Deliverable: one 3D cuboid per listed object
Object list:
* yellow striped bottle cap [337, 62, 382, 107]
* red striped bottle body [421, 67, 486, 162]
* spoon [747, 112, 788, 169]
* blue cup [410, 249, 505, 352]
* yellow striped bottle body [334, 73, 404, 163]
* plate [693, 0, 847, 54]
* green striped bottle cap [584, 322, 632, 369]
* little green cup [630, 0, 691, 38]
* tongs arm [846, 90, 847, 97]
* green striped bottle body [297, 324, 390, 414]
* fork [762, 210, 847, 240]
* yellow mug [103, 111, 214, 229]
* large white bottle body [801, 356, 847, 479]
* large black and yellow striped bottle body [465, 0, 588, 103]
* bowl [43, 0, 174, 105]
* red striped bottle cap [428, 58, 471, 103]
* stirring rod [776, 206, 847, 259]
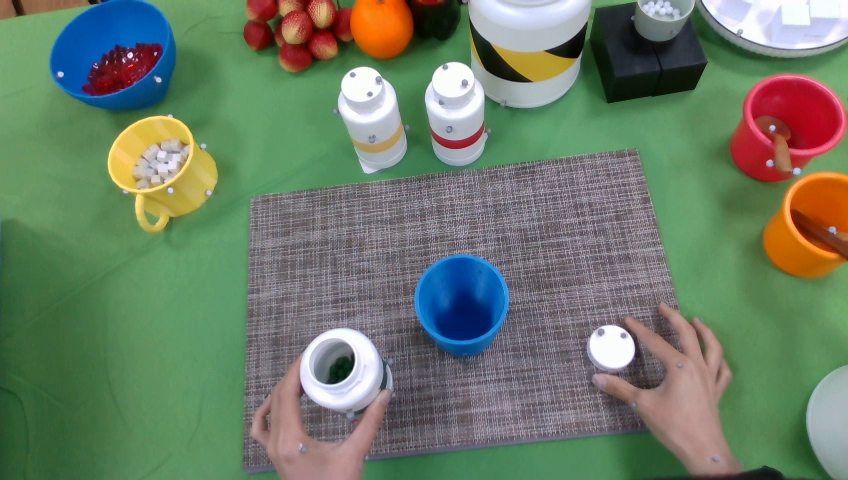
[{"bbox_3d":[-0.066,-0.160,0.621,0.044,0.019,0.044,-1,69,4],"label":"yellow striped bottle cap"},{"bbox_3d":[0.033,-0.141,0.661,0.063,0.121,0.062,-4,66,9],"label":"red striped bottle body"},{"bbox_3d":[0.345,-0.102,0.600,0.041,0.193,0.022,25,118,15],"label":"spoon"},{"bbox_3d":[0.033,0.067,0.582,0.092,0.101,0.092,-1,66,4],"label":"blue cup"},{"bbox_3d":[-0.061,-0.140,0.669,0.063,0.121,0.062,-2,68,6],"label":"yellow striped bottle body"},{"bbox_3d":[0.425,-0.307,0.733,0.209,0.038,0.207,-2,68,5],"label":"plate"},{"bbox_3d":[0.181,0.104,0.596,0.044,0.020,0.044,-2,52,3],"label":"green striped bottle cap"},{"bbox_3d":[0.261,-0.258,0.675,0.061,0.039,0.061,-2,66,4],"label":"little green cup"},{"bbox_3d":[0.554,-0.010,0.601,0.051,0.027,0.381,-18,68,-4],"label":"tongs arm"},{"bbox_3d":[-0.066,0.108,0.504,0.063,0.120,0.062,-1,69,4],"label":"green striped bottle body"},{"bbox_3d":[0.408,0.000,0.550,0.028,0.019,0.205,-44,26,-11],"label":"fork"},{"bbox_3d":[-0.307,-0.075,0.696,0.100,0.064,0.130,3,69,6],"label":"yellow mug"},{"bbox_3d":[0.404,0.138,0.475,0.130,0.186,0.129,-2,67,5],"label":"large white bottle body"},{"bbox_3d":[0.110,-0.253,0.663,0.130,0.185,0.130,-2,68,5],"label":"large black and yellow striped bottle body"},{"bbox_3d":[-0.376,-0.222,0.756,0.151,0.077,0.150,-2,68,4],"label":"bowl"},{"bbox_3d":[0.026,-0.162,0.612,0.044,0.018,0.044,-1,66,2],"label":"red striped bottle cap"},{"bbox_3d":[0.378,0.002,0.560,0.014,0.006,0.175,-5,24,1],"label":"stirring rod"}]
